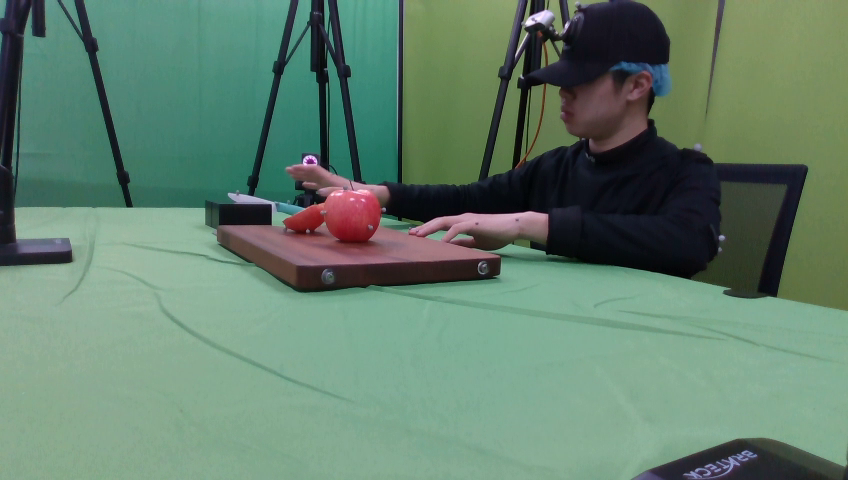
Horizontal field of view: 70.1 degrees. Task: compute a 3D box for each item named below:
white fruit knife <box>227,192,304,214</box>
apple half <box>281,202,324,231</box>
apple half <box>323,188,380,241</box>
[{"bbox_3d":[-0.302,-0.069,1.242,0.208,0.027,0.016,14,3,-37],"label":"white fruit knife"},{"bbox_3d":[-0.175,-0.033,0.927,0.081,0.033,0.081,-21,0,1],"label":"apple half"},{"bbox_3d":[-0.094,-0.034,0.840,0.081,0.074,0.053,1,10,-38],"label":"apple half"}]
